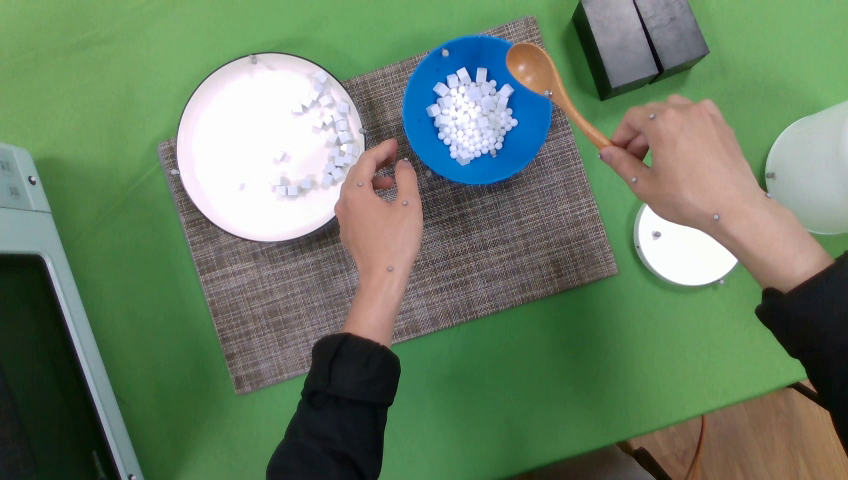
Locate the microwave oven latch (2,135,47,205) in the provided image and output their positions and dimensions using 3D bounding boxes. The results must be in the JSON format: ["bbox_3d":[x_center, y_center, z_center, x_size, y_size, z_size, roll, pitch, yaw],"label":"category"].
[{"bbox_3d":[-0.448,-0.073,0.667,0.030,0.029,0.079,-21,90,2],"label":"microwave oven latch"}]

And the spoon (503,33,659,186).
[{"bbox_3d":[0.135,-0.115,0.533,0.021,0.042,0.192,-32,72,-11],"label":"spoon"}]

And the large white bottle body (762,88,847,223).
[{"bbox_3d":[0.426,-0.085,0.570,0.130,0.185,0.130,0,89,3],"label":"large white bottle body"}]

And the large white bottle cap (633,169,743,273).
[{"bbox_3d":[0.287,-0.020,0.660,0.115,0.018,0.114,0,90,2],"label":"large white bottle cap"}]

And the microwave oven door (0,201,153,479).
[{"bbox_3d":[-0.379,0.131,0.562,0.039,0.244,0.355,-21,89,3],"label":"microwave oven door"}]

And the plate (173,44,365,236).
[{"bbox_3d":[-0.167,-0.107,0.668,0.209,0.038,0.209,0,90,3],"label":"plate"}]

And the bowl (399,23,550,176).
[{"bbox_3d":[0.052,-0.138,0.637,0.151,0.077,0.151,0,90,3],"label":"bowl"}]

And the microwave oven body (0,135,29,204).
[{"bbox_3d":[-0.531,0.143,0.574,0.326,0.260,0.441,-21,89,2],"label":"microwave oven body"}]
